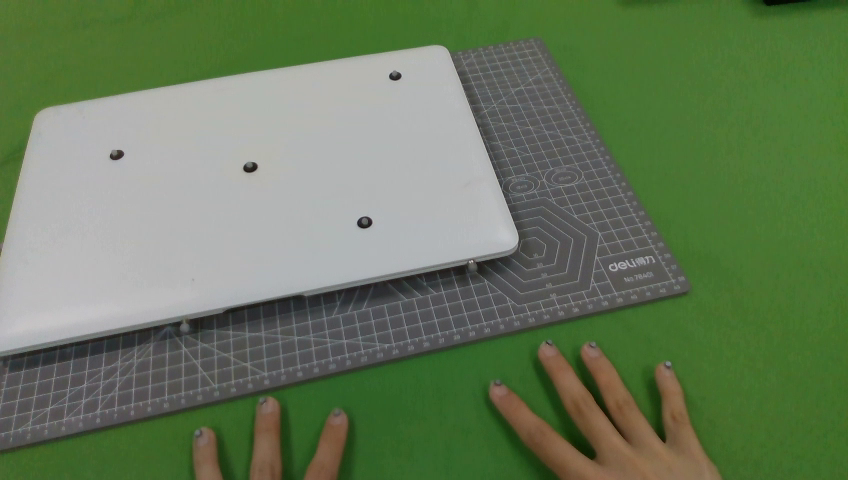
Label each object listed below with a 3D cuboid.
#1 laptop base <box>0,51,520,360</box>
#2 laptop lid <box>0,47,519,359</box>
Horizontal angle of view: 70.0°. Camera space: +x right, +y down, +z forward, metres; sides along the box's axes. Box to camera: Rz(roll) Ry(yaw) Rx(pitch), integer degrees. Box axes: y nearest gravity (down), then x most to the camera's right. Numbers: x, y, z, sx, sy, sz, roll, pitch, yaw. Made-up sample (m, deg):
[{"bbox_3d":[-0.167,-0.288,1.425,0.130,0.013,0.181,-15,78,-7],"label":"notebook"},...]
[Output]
[{"bbox_3d":[-0.127,-0.044,0.468,0.355,0.023,0.233,-11,56,-6],"label":"laptop base"},{"bbox_3d":[-0.128,-0.049,0.457,0.357,0.013,0.239,-10,54,-5],"label":"laptop lid"}]
